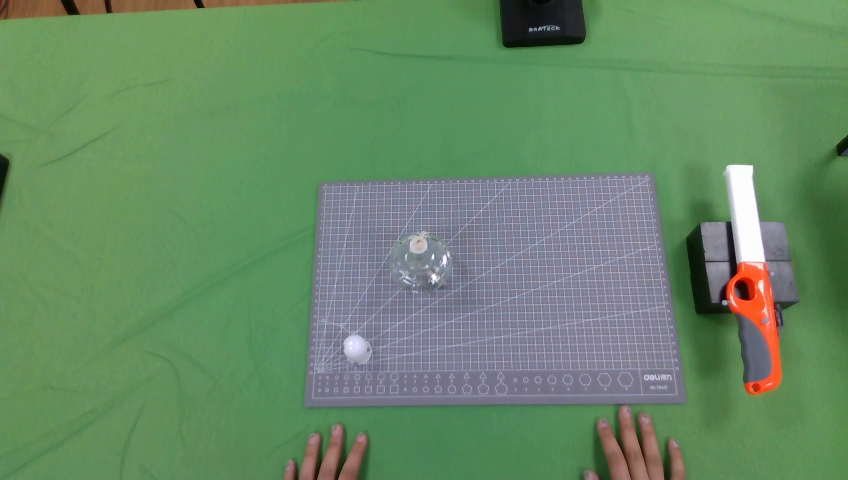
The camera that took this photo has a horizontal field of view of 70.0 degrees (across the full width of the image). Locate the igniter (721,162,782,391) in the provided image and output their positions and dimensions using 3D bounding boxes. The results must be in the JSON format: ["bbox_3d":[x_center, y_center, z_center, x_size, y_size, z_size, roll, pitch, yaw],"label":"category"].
[{"bbox_3d":[0.373,0.034,0.697,0.057,0.025,0.274,2,69,7],"label":"igniter"}]

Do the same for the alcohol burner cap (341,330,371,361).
[{"bbox_3d":[-0.083,0.125,0.725,0.034,0.048,0.033,-1,70,4],"label":"alcohol burner cap"}]

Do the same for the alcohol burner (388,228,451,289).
[{"bbox_3d":[-0.006,0.017,0.722,0.078,0.120,0.077,0,69,1],"label":"alcohol burner"}]
